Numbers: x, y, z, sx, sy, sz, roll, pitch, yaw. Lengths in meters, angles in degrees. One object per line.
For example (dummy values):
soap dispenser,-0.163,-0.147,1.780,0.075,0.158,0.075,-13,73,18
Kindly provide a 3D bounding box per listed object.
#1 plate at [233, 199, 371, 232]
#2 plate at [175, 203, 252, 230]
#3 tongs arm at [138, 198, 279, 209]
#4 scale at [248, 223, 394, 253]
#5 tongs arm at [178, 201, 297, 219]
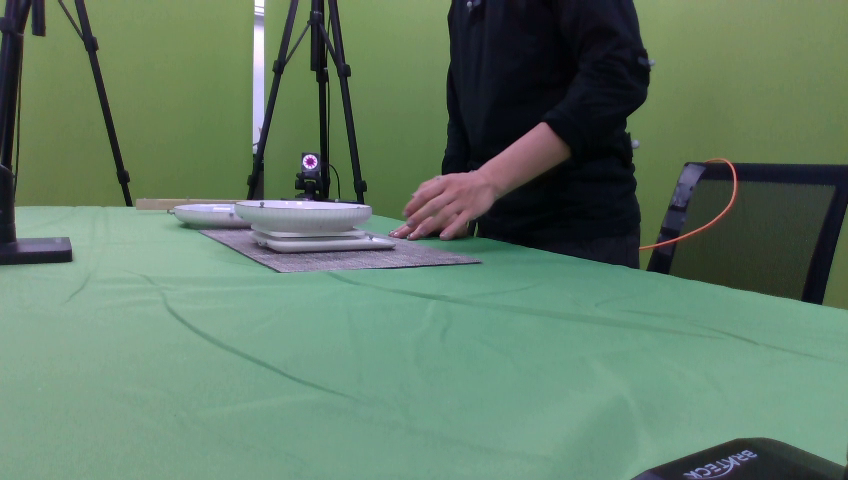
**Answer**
plate,-0.188,-0.039,0.939,0.209,0.038,0.209,3,7,0
plate,-0.381,-0.047,1.199,0.208,0.039,0.207,3,7,0
tongs arm,-0.489,-0.086,1.472,0.050,0.026,0.387,10,9,42
scale,-0.162,-0.006,0.954,0.202,0.031,0.148,-2,8,-32
tongs arm,-0.418,-0.072,1.420,0.028,0.028,0.389,3,7,27
